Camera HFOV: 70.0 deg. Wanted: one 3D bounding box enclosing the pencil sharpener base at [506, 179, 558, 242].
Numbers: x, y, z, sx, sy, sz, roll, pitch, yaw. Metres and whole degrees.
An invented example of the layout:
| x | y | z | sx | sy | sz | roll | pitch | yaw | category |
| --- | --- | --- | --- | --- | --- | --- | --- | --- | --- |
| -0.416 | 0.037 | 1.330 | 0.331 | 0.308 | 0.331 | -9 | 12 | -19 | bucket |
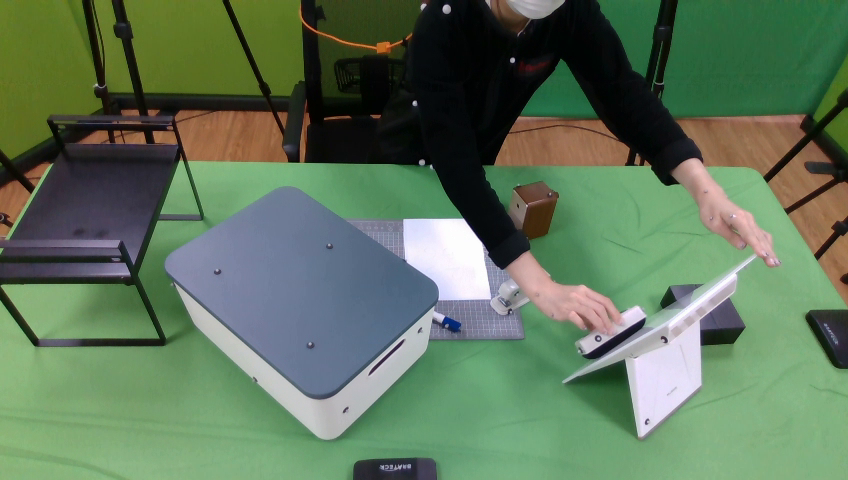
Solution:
| x | y | z | sx | sy | sz | roll | pitch | yaw | category |
| --- | --- | --- | --- | --- | --- | --- | --- | --- | --- |
| 0.216 | -0.059 | 1.211 | 0.077 | 0.107 | 0.061 | -16 | 49 | -19 | pencil sharpener base |

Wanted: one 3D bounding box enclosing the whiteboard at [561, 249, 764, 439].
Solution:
| x | y | z | sx | sy | sz | roll | pitch | yaw | category |
| --- | --- | --- | --- | --- | --- | --- | --- | --- | --- |
| 0.386 | 0.176 | 0.905 | 0.217 | 0.306 | 0.143 | -26 | 72 | -26 | whiteboard |

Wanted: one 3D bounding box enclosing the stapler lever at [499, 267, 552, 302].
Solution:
| x | y | z | sx | sy | sz | roll | pitch | yaw | category |
| --- | --- | --- | --- | --- | --- | --- | --- | --- | --- |
| 0.185 | 0.077 | 1.101 | 0.118 | 0.040 | 0.026 | -24 | 57 | -29 | stapler lever |

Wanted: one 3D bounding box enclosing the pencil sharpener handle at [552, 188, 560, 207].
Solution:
| x | y | z | sx | sy | sz | roll | pitch | yaw | category |
| --- | --- | --- | --- | --- | --- | --- | --- | --- | --- |
| 0.262 | -0.084 | 1.221 | 0.031 | 0.068 | 0.036 | -16 | 64 | -19 | pencil sharpener handle |

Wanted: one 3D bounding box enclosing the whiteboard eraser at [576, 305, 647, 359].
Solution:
| x | y | z | sx | sy | sz | roll | pitch | yaw | category |
| --- | --- | --- | --- | --- | --- | --- | --- | --- | --- |
| 0.299 | 0.147 | 0.961 | 0.112 | 0.056 | 0.041 | -33 | 76 | -3 | whiteboard eraser |

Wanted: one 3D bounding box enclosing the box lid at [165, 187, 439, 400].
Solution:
| x | y | z | sx | sy | sz | roll | pitch | yaw | category |
| --- | --- | --- | --- | --- | --- | --- | --- | --- | --- |
| -0.186 | 0.060 | 0.925 | 0.370 | 0.015 | 0.263 | 32 | 53 | 25 | box lid |

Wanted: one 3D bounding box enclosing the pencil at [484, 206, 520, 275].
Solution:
| x | y | z | sx | sy | sz | roll | pitch | yaw | category |
| --- | --- | --- | --- | --- | --- | --- | --- | --- | --- |
| 0.157 | -0.001 | 1.217 | 0.012 | 0.012 | 0.192 | -10 | 48 | -13 | pencil |

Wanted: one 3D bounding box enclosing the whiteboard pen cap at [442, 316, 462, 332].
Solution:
| x | y | z | sx | sy | sz | roll | pitch | yaw | category |
| --- | --- | --- | --- | --- | --- | --- | --- | --- | --- |
| 0.048 | 0.147 | 1.060 | 0.033 | 0.018 | 0.018 | 24 | 49 | 16 | whiteboard pen cap |

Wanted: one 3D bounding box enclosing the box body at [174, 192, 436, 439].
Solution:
| x | y | z | sx | sy | sz | roll | pitch | yaw | category |
| --- | --- | --- | --- | --- | --- | --- | --- | --- | --- |
| -0.191 | 0.110 | 0.979 | 0.362 | 0.161 | 0.254 | 33 | 53 | 24 | box body |

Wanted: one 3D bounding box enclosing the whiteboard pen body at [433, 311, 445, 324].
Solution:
| x | y | z | sx | sy | sz | roll | pitch | yaw | category |
| --- | --- | --- | --- | --- | --- | --- | --- | --- | --- |
| -0.004 | 0.123 | 1.074 | 0.140 | 0.017 | 0.017 | 24 | 49 | 15 | whiteboard pen body |

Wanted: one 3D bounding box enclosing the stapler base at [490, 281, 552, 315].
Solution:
| x | y | z | sx | sy | sz | roll | pitch | yaw | category |
| --- | --- | --- | --- | --- | --- | --- | --- | --- | --- |
| 0.182 | 0.094 | 1.118 | 0.130 | 0.024 | 0.041 | -24 | 57 | -29 | stapler base |
